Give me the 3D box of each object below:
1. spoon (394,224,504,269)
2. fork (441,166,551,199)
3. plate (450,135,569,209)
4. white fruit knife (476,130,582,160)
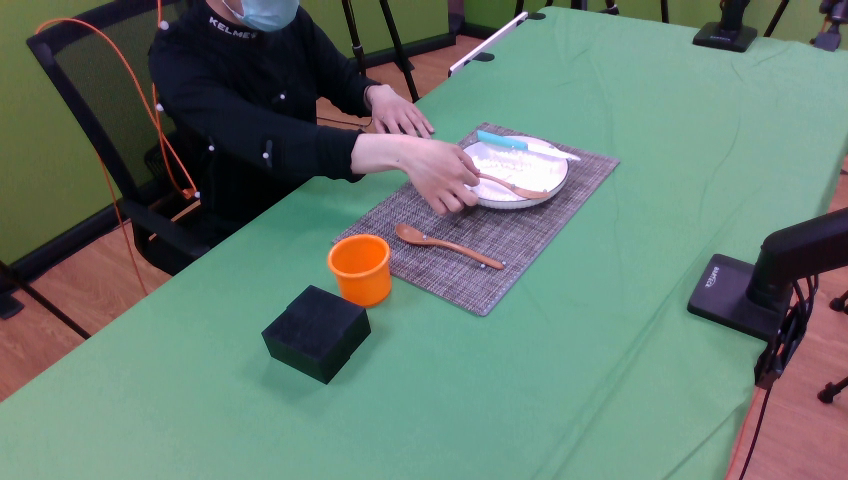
[{"bbox_3d":[0.037,0.010,0.945,0.192,0.022,0.042,18,29,26],"label":"spoon"},{"bbox_3d":[0.116,-0.099,1.015,0.206,0.019,0.028,21,42,27],"label":"fork"},{"bbox_3d":[0.149,-0.117,1.065,0.209,0.038,0.208,-4,41,3],"label":"plate"},{"bbox_3d":[0.184,-0.170,1.089,0.206,0.016,0.027,18,44,25],"label":"white fruit knife"}]
